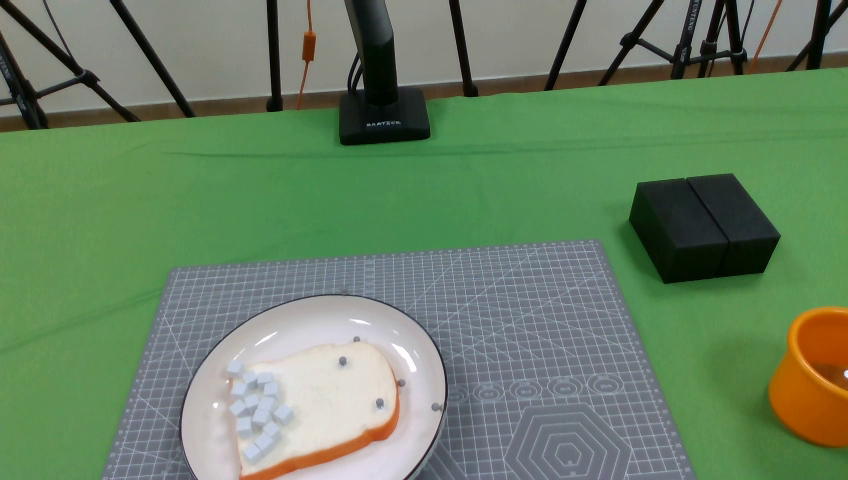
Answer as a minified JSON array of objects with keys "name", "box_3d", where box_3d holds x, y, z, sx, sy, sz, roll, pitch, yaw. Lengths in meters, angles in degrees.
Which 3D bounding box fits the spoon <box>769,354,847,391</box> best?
[{"name":"spoon","box_3d":[0.349,0.087,0.434,0.041,0.193,0.022,-41,98,-38]}]

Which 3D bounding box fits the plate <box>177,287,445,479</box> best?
[{"name":"plate","box_3d":[-0.087,0.126,0.487,0.209,0.038,0.207,-1,44,1]}]

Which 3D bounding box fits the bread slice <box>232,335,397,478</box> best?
[{"name":"bread slice","box_3d":[-0.089,0.124,0.493,0.132,0.019,0.103,-15,46,-11]}]
